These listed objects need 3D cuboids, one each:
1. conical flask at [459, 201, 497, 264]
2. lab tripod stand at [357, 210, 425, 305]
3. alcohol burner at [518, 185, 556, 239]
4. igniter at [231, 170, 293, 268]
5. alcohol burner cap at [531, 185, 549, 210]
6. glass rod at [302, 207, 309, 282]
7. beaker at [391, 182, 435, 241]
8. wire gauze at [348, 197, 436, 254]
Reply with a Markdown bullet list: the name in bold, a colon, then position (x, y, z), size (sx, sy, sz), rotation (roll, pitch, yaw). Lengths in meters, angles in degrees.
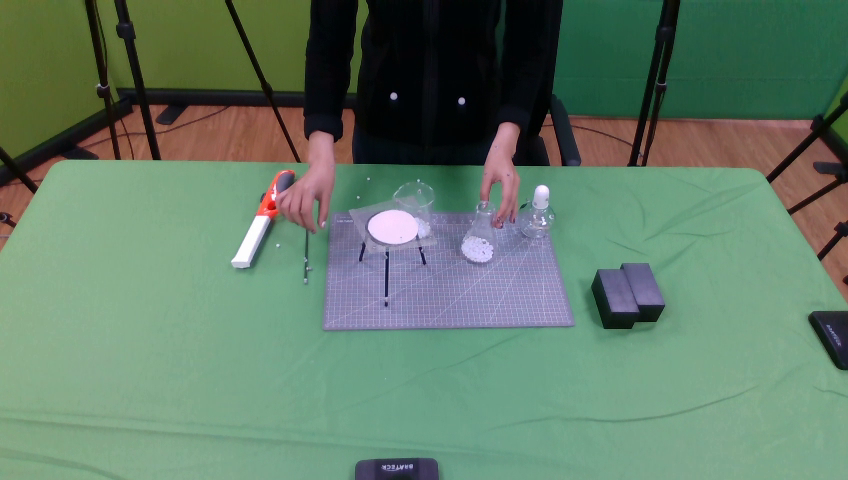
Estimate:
- **conical flask**: position (0.108, -0.019, 1.153), size (0.075, 0.122, 0.075), rotation (2, 46, -2)
- **lab tripod stand**: position (-0.060, 0.020, 1.094), size (0.148, 0.132, 0.147), rotation (3, 44, -2)
- **alcohol burner**: position (0.227, -0.061, 1.209), size (0.078, 0.120, 0.077), rotation (1, 44, -1)
- **igniter**: position (-0.321, -0.051, 1.220), size (0.057, 0.025, 0.275), rotation (1, 45, 11)
- **alcohol burner cap**: position (0.228, -0.085, 1.183), size (0.034, 0.048, 0.033), rotation (-1, 48, 2)
- **glass rod**: position (-0.231, 0.004, 1.187), size (0.008, 0.008, 0.198), rotation (-2, 47, -6)
- **beaker**: position (-0.023, -0.053, 1.192), size (0.084, 0.101, 0.073), rotation (-2, 46, -5)
- **wire gauze**: position (-0.056, -0.026, 1.045), size (0.125, 0.011, 0.120), rotation (-12, 47, -17)
